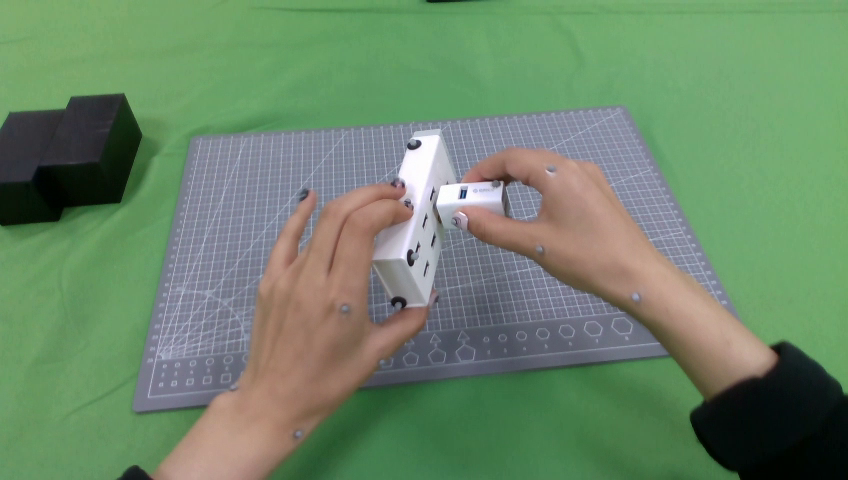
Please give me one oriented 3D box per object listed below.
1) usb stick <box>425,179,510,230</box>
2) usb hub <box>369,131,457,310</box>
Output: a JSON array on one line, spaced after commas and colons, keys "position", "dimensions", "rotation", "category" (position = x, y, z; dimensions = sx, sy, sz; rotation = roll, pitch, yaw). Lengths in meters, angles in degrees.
[{"position": [0.026, -0.023, 0.409], "dimensions": [0.059, 0.027, 0.021], "rotation": [-7, 50, 22], "category": "usb stick"}, {"position": [-0.004, -0.017, 0.412], "dimensions": [0.025, 0.050, 0.124], "rotation": [-5, 46, 21], "category": "usb hub"}]
